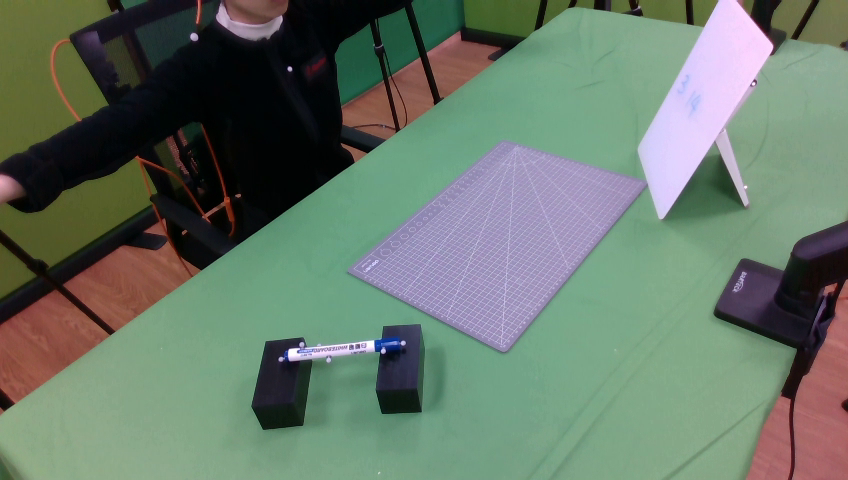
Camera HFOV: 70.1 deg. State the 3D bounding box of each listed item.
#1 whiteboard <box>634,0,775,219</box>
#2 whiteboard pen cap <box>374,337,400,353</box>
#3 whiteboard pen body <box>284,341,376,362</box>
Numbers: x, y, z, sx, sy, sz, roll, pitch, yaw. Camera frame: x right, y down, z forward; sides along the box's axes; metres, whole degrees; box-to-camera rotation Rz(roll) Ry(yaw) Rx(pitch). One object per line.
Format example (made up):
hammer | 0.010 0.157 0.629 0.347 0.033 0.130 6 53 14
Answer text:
whiteboard | 0.485 -0.192 0.956 0.144 0.305 0.216 14 41 -4
whiteboard pen cap | -0.047 0.132 0.753 0.033 0.018 0.018 -9 40 3
whiteboard pen body | -0.105 0.138 0.754 0.141 0.017 0.017 -6 40 2
